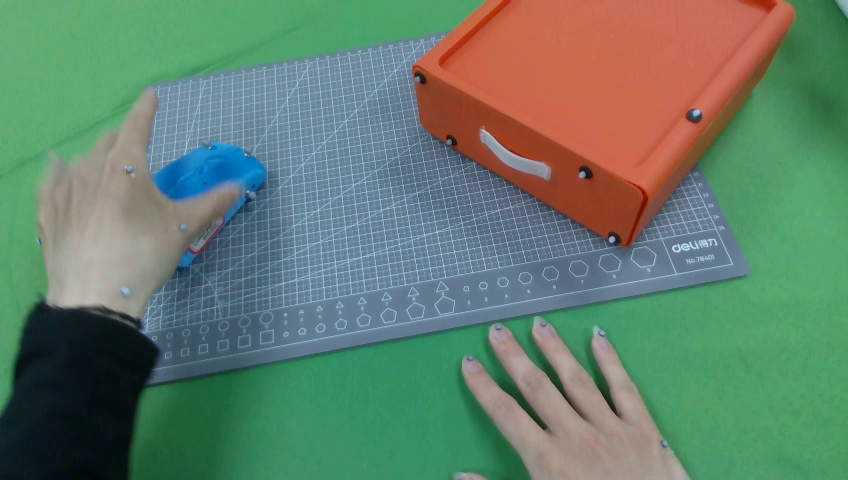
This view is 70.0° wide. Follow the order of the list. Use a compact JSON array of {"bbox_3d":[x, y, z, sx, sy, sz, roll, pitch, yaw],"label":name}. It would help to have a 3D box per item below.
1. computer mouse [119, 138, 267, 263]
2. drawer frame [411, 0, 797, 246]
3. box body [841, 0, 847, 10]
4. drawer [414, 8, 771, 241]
[{"bbox_3d":[-0.182,-0.038,0.477,0.062,0.041,0.117,27,62,22],"label":"computer mouse"},{"bbox_3d":[0.134,-0.133,0.474,0.200,0.083,0.213,34,68,23],"label":"drawer frame"},{"bbox_3d":[0.484,-0.225,0.448,0.254,0.162,0.360,-9,59,1],"label":"box body"},{"bbox_3d":[0.133,-0.131,0.475,0.193,0.074,0.211,35,68,24],"label":"drawer"}]
